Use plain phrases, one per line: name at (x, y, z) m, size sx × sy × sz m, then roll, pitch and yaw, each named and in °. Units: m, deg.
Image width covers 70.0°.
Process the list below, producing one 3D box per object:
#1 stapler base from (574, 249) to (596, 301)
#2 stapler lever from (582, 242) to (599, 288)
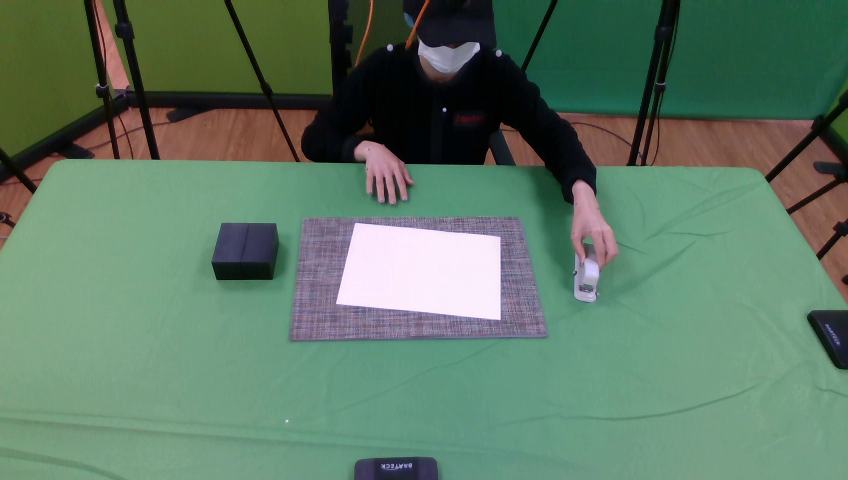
stapler base at (0.312, 0.061, 1.160) m, size 0.041 × 0.024 × 0.130 m, roll 11°, pitch 44°, yaw 5°
stapler lever at (0.313, 0.041, 1.144) m, size 0.027 × 0.040 × 0.117 m, roll 11°, pitch 43°, yaw 5°
